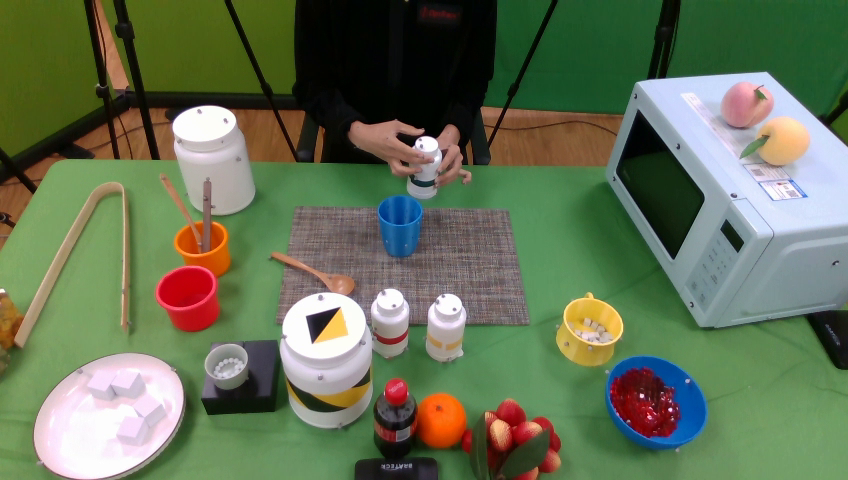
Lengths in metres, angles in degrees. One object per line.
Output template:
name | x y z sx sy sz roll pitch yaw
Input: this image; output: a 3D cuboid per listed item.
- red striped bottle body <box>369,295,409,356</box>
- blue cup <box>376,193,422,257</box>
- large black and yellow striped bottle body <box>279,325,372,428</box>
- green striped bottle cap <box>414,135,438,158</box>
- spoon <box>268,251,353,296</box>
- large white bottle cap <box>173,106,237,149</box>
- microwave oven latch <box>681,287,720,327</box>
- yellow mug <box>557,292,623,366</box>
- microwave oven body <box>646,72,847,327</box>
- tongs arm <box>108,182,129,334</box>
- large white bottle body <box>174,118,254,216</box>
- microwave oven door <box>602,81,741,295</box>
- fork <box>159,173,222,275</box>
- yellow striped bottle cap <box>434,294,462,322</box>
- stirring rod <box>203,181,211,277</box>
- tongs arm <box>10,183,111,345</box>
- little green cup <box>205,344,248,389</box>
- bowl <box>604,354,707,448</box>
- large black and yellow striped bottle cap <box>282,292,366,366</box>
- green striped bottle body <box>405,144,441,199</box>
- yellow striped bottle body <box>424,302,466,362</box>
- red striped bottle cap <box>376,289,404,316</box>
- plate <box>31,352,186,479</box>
red striped bottle body | -0.059 0.134 0.997 0.063 0.120 0.062 5 48 -5
blue cup | -0.047 -0.022 1.155 0.093 0.101 0.092 1 47 -1
large black and yellow striped bottle body | -0.143 0.181 0.900 0.131 0.185 0.130 2 46 -2
green striped bottle cap | 0.004 -0.174 1.125 0.044 0.020 0.044 2 52 -3
spoon | -0.212 0.057 1.121 0.193 0.022 0.041 24 74 18
large white bottle cap | -0.411 -0.212 1.138 0.115 0.018 0.114 2 47 -2
microwave oven latch | 0.494 0.119 1.087 0.030 0.029 0.078 -5 46 -9
yellow mug | 0.285 0.145 1.051 0.100 0.064 0.130 7 45 4
microwave oven body | 0.607 -0.089 1.164 0.326 0.261 0.438 -7 46 -10
tongs arm | -0.571 0.019 1.123 0.051 0.026 0.382 -11 47 -11
large white bottle body | -0.415 -0.154 1.199 0.131 0.185 0.130 2 46 -2
microwave oven door | 0.456 -0.107 1.162 0.039 0.245 0.353 -7 47 -11
fork | -0.427 -0.029 1.103 0.028 0.018 0.207 -31 99 -31
yellow striped bottle cap | 0.038 0.107 0.958 0.044 0.019 0.044 2 45 -2
stirring rod | -0.397 -0.021 1.108 0.014 0.006 0.176 0 89 -2
tongs arm | -0.658 0.027 1.109 0.028 0.028 0.385 -2 45 2
little green cup | -0.293 0.191 0.909 0.061 0.039 0.061 1 47 -1
bowl | 0.346 0.261 0.937 0.151 0.077 0.150 2 46 -2
large black and yellow striped bottle cap | -0.138 0.121 0.841 0.115 0.019 0.114 3 47 -3
green striped bottle body | -0.002 -0.140 1.165 0.063 0.120 0.063 4 50 -4
yellow striped bottle body | 0.035 0.143 0.995 0.063 0.121 0.062 3 46 -2
red striped bottle cap | -0.054 0.098 0.958 0.044 0.018 0.044 0 48 0
plate | -0.459 0.262 0.898 0.209 0.038 0.208 2 46 -2
